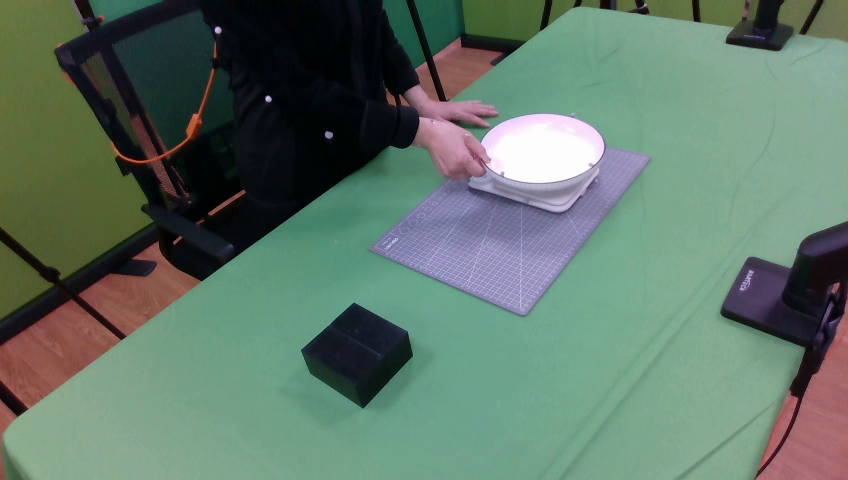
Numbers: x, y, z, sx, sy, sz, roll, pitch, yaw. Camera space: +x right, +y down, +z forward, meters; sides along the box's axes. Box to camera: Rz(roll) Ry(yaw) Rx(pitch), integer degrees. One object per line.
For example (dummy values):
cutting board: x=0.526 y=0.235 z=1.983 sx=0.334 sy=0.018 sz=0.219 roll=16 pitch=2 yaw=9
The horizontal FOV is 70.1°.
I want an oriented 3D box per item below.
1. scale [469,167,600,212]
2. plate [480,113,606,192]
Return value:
scale: x=0.194 y=-0.117 z=1.076 sx=0.199 sy=0.032 sz=0.149 roll=21 pitch=48 yaw=32
plate: x=0.198 y=-0.145 z=1.020 sx=0.209 sy=0.038 sz=0.208 roll=-4 pitch=43 yaw=4
